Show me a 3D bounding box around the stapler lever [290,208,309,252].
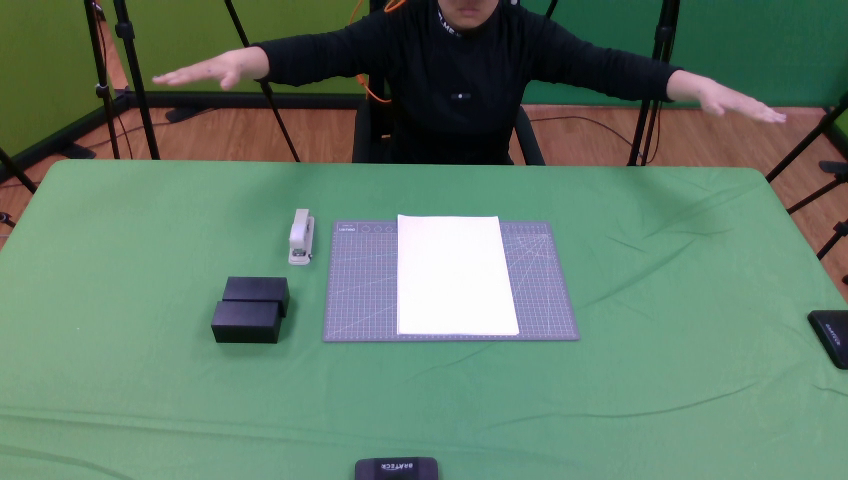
[{"bbox_3d":[-0.240,-0.026,1.168,0.027,0.040,0.117,1,44,-6],"label":"stapler lever"}]

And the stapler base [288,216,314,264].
[{"bbox_3d":[-0.241,-0.007,1.184,0.041,0.024,0.129,1,44,-6],"label":"stapler base"}]
